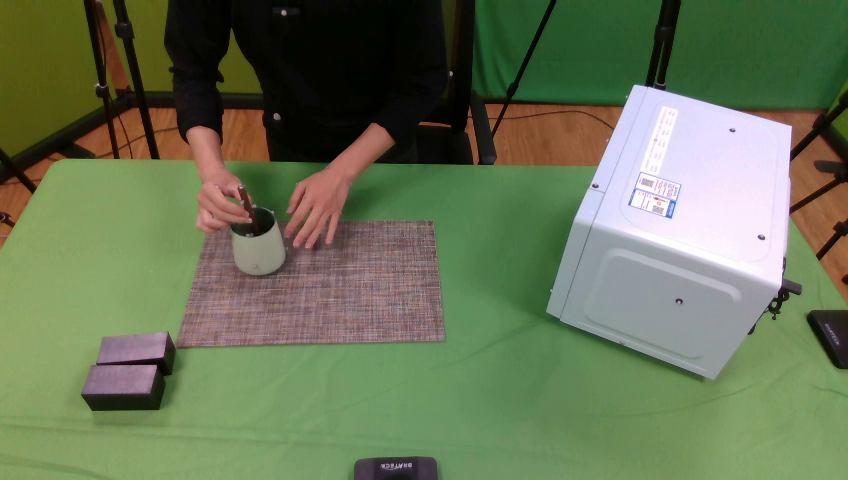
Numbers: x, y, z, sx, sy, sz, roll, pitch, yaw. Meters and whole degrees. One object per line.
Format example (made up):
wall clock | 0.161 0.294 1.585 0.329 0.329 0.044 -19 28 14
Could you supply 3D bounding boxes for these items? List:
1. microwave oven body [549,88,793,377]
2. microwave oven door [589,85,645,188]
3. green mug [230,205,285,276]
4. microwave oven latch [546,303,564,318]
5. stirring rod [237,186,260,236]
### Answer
microwave oven body | 0.456 -0.028 1.087 0.325 0.261 0.440 20 47 16
microwave oven door | 0.342 -0.107 1.148 0.039 0.245 0.354 20 48 15
green mug | -0.311 -0.008 1.118 0.092 0.105 0.124 -14 49 -16
microwave oven latch | 0.242 0.102 1.081 0.030 0.029 0.079 22 48 17
stirring rod | -0.296 -0.030 1.047 0.014 0.177 0.006 15 52 13
